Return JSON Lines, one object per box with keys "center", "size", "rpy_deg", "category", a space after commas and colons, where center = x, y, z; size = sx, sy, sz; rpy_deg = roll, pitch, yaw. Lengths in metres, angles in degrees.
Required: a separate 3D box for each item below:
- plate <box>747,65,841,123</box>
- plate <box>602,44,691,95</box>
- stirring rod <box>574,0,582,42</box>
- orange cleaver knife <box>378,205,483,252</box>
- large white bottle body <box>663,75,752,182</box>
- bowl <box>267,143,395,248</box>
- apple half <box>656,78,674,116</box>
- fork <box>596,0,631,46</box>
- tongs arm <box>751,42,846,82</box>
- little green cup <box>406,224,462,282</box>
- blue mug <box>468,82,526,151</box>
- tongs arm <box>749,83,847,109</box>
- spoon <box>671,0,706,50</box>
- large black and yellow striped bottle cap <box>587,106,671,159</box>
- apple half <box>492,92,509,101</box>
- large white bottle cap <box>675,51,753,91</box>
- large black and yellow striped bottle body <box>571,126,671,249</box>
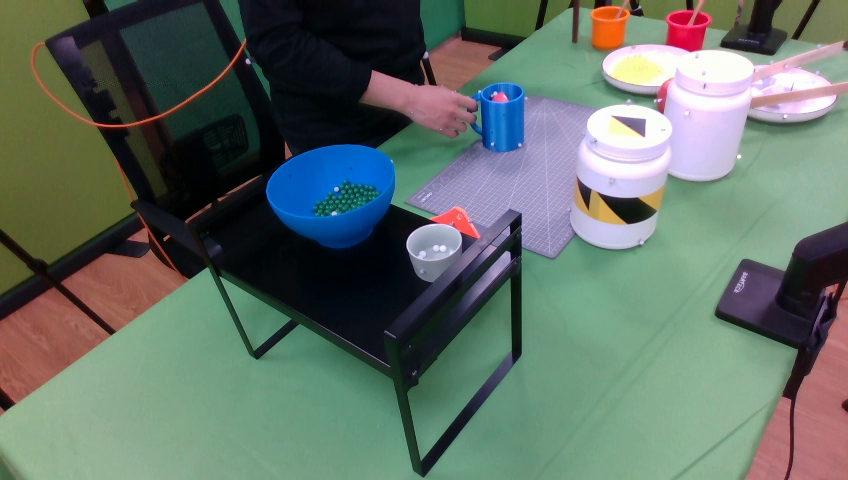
{"center": [0.695, -0.282, 1.189], "size": [0.207, 0.039, 0.206], "rpy_deg": [-4, 40, 4], "category": "plate"}
{"center": [0.494, -0.367, 1.317], "size": [0.209, 0.038, 0.208], "rpy_deg": [-4, 40, 4], "category": "plate"}
{"center": [0.319, -0.493, 1.247], "size": [0.014, 0.177, 0.006], "rpy_deg": [25, 51, 33], "category": "stirring rod"}
{"center": [0.005, -0.010, 0.944], "size": [0.210, 0.077, 0.012], "rpy_deg": [-5, 23, 47], "category": "orange cleaver knife"}
{"center": [0.472, -0.207, 1.022], "size": [0.130, 0.185, 0.130], "rpy_deg": [-4, 41, 4], "category": "large white bottle body"}
{"center": [-0.104, -0.043, 0.726], "size": [0.151, 0.077, 0.150], "rpy_deg": [-4, 41, 4], "category": "bowl"}
{"center": [0.488, -0.281, 1.192], "size": [0.053, 0.075, 0.081], "rpy_deg": [24, 54, 37], "category": "apple half"}
{"center": [0.481, -0.556, 1.452], "size": [0.028, 0.019, 0.207], "rpy_deg": [41, 104, 39], "category": "fork"}
{"center": [0.708, -0.331, 1.193], "size": [0.386, 0.026, 0.050], "rpy_deg": [-18, 45, -16], "category": "tongs arm"}
{"center": [0.012, 0.015, 0.668], "size": [0.061, 0.039, 0.061], "rpy_deg": [-4, 40, 4], "category": "little green cup"}
{"center": [0.139, -0.241, 1.170], "size": [0.116, 0.106, 0.082], "rpy_deg": [13, 45, 23], "category": "blue mug"}
{"center": [0.734, -0.280, 1.133], "size": [0.388, 0.028, 0.028], "rpy_deg": [-9, 47, -5], "category": "tongs arm"}
{"center": [0.629, -0.520, 1.394], "size": [0.041, 0.022, 0.193], "rpy_deg": [30, 96, 34], "category": "spoon"}
{"center": [0.290, -0.154, 0.858], "size": [0.115, 0.019, 0.114], "rpy_deg": [-4, 42, 4], "category": "large black and yellow striped bottle cap"}
{"center": [0.143, -0.240, 1.159], "size": [0.033, 0.081, 0.080], "rpy_deg": [-12, 40, -15], "category": "apple half"}
{"center": [0.463, -0.271, 0.967], "size": [0.115, 0.018, 0.114], "rpy_deg": [-4, 40, 3], "category": "large white bottle cap"}
{"center": [0.296, -0.093, 0.915], "size": [0.131, 0.185, 0.130], "rpy_deg": [-3, 42, 3], "category": "large black and yellow striped bottle body"}
